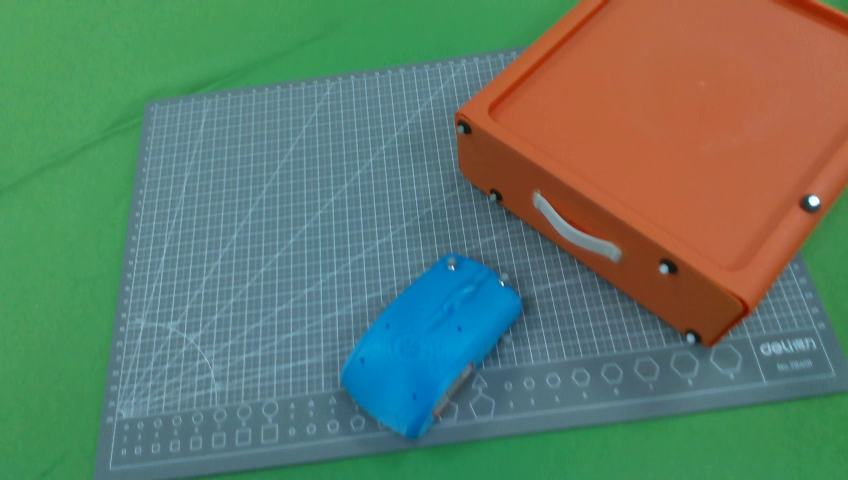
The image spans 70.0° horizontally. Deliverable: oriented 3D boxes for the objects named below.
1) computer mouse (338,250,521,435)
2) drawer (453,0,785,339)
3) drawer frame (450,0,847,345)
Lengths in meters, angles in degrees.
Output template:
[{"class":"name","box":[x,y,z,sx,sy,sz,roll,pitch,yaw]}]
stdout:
[{"class":"computer mouse","box":[0.004,0.056,0.364,0.062,0.041,0.117,34,67,22]},{"class":"drawer","box":[0.159,-0.077,0.391,0.193,0.074,0.211,38,72,22]},{"class":"drawer frame","box":[0.160,-0.079,0.390,0.200,0.083,0.213,38,72,22]}]
